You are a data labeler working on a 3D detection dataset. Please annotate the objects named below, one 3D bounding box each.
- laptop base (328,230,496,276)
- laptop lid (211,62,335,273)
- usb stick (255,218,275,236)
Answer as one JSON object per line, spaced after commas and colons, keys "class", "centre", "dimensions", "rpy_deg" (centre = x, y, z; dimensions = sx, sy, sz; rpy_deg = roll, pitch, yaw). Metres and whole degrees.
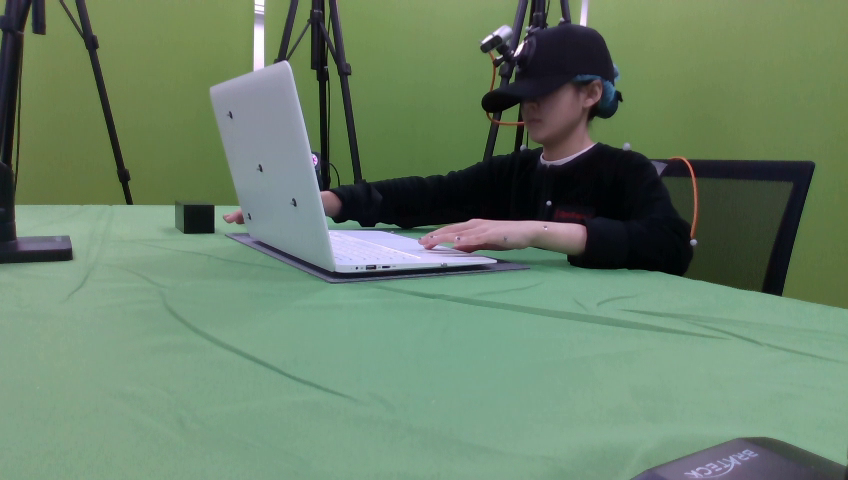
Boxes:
{"class": "laptop base", "centre": [-0.091, 0.016, 0.884], "dimensions": [0.237, 0.023, 0.352], "rpy_deg": [2, 6, -32]}
{"class": "laptop lid", "centre": [-0.211, -0.095, 0.791], "dimensions": [0.013, 0.241, 0.355], "rpy_deg": [-18, 18, -29]}
{"class": "usb stick", "centre": [-0.262, -0.021, 1.003], "dimensions": [0.021, 0.027, 0.059], "rpy_deg": [-2, 12, -32]}
